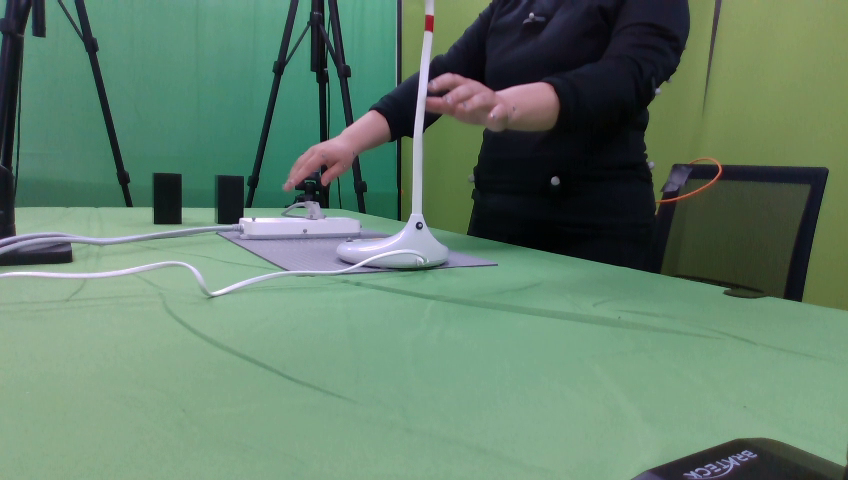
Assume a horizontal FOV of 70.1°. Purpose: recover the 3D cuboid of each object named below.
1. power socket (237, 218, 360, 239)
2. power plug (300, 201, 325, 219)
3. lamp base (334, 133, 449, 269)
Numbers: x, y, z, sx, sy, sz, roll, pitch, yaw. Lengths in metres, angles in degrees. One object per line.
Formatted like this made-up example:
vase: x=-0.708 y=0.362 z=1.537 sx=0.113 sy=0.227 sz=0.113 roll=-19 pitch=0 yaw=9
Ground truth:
power socket: x=-0.220 y=-0.023 z=1.080 sx=0.228 sy=0.032 sz=0.072 roll=-2 pitch=7 yaw=-33
power plug: x=-0.207 y=-0.046 z=1.120 sx=0.035 sy=0.052 sz=0.072 roll=0 pitch=5 yaw=-21
lamp base: x=-0.034 y=-0.057 z=0.831 sx=0.161 sy=0.180 sz=0.178 roll=-3 pitch=12 yaw=-36
